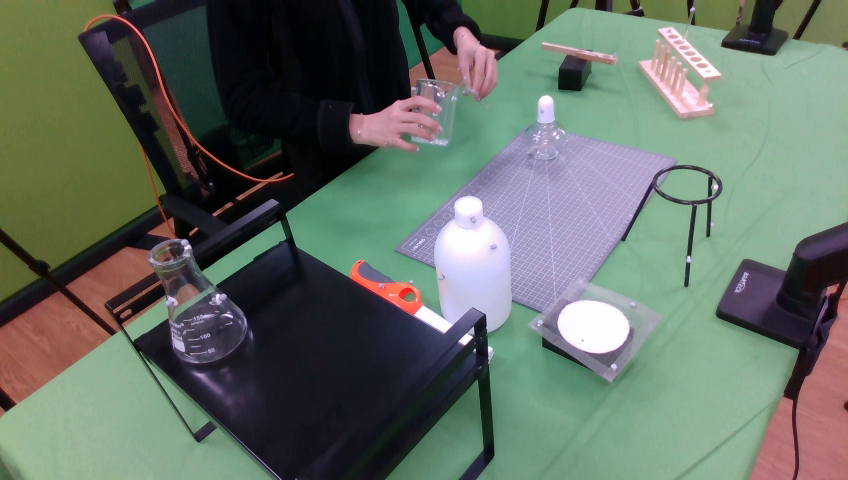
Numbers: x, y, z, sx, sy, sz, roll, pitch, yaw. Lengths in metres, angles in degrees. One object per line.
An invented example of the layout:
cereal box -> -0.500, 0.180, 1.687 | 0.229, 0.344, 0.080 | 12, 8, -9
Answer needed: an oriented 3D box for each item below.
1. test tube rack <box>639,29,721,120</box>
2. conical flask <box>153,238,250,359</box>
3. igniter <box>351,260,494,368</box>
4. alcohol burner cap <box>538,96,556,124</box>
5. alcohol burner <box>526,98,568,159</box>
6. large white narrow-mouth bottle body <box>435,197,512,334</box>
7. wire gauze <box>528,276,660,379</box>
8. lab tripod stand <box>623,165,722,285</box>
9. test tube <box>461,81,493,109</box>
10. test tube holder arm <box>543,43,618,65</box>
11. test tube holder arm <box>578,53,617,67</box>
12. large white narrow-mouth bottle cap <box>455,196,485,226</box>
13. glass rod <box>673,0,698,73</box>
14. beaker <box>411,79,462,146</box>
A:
test tube rack -> 0.527, -0.351, 1.262 | 0.067, 0.085, 0.241 | -8, 40, 1
conical flask -> -0.225, 0.055, 0.597 | 0.075, 0.122, 0.075 | -5, 41, 4
igniter -> -0.013, 0.098, 0.864 | 0.274, 0.025, 0.057 | 30, 66, 36
alcohol burner cap -> 0.222, -0.237, 1.095 | 0.034, 0.048, 0.033 | -6, 34, 5
alcohol burner -> 0.228, -0.210, 1.118 | 0.078, 0.119, 0.077 | -5, 43, 5
large white narrow-mouth bottle body -> 0.066, 0.028, 0.805 | 0.102, 0.195, 0.101 | -4, 40, 4
wire gauze -> 0.213, 0.103, 0.763 | 0.124, 0.011, 0.122 | 30, 52, 35
lab tripod stand -> 0.365, -0.030, 0.874 | 0.148, 0.132, 0.147 | -6, 41, 6
test tube -> 0.101, -0.270, 1.133 | 0.017, 0.017, 0.151 | 13, 3, 23
test tube holder arm -> 0.344, -0.413, 1.340 | 0.177, 0.015, 0.013 | 25, 50, 31
test tube holder arm -> 0.376, -0.393, 1.314 | 0.087, 0.015, 0.010 | 26, 51, 32
large white narrow-mouth bottle cap -> 0.057, -0.036, 0.749 | 0.038, 0.024, 0.037 | -4, 40, 4
glass rod -> 0.538, -0.425, 1.245 | 0.008, 0.200, 0.008 | 0, 47, 0
beaker -> 0.019, -0.210, 1.006 | 0.073, 0.100, 0.084 | 12, 8, 17
